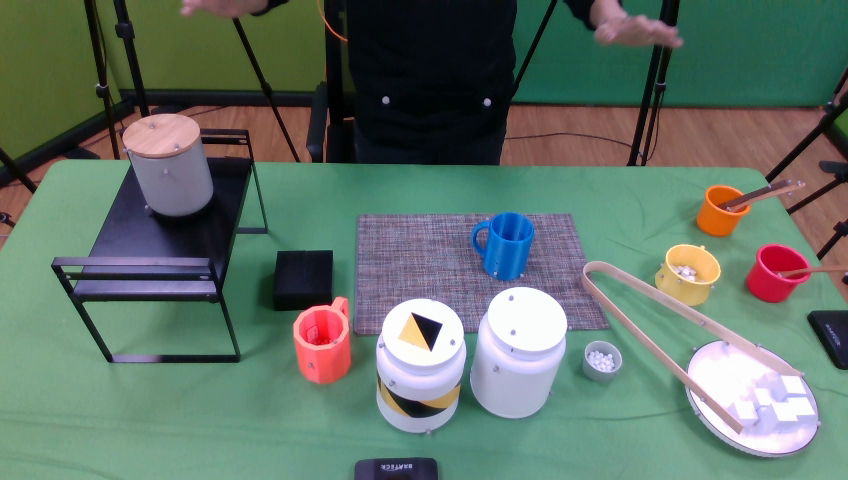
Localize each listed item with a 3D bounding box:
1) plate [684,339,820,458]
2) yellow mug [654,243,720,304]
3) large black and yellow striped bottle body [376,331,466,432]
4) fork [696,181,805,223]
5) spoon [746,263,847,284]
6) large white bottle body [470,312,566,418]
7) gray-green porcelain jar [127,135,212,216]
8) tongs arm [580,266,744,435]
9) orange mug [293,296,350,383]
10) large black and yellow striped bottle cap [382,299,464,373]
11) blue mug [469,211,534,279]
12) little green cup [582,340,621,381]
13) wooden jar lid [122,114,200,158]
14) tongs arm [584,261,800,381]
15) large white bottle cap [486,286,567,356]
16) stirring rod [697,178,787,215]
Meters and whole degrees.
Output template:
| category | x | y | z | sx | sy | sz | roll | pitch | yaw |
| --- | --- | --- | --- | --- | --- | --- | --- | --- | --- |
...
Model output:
| category | x | y | z | sx | sy | sz | roll | pitch | yaw |
| --- | --- | --- | --- | --- | --- | --- | --- | --- | --- |
| plate | 0.523 | 0.256 | 0.982 | 0.208 | 0.039 | 0.206 | 2 | 46 | -2 |
| yellow mug | 0.504 | 0.054 | 1.154 | 0.099 | 0.064 | 0.130 | 28 | 50 | 22 |
| large black and yellow striped bottle body | -0.007 | 0.189 | 0.905 | 0.131 | 0.185 | 0.130 | 2 | 46 | -2 |
| fork | 0.659 | -0.077 | 1.232 | 0.207 | 0.019 | 0.028 | -26 | 35 | 34 |
| spoon | 0.696 | 0.057 | 1.113 | 0.193 | 0.022 | 0.041 | -16 | 27 | 48 |
| large white bottle body | 0.143 | 0.174 | 0.930 | 0.131 | 0.185 | 0.130 | 2 | 46 | -2 |
| gray-green porcelain jar | -0.394 | -0.109 | 0.949 | 0.106 | 0.127 | 0.105 | 3 | 46 | -3 |
| tongs arm | 0.384 | 0.173 | 1.028 | 0.028 | 0.028 | 0.385 | -25 | 46 | -15 |
| orange mug | -0.157 | 0.154 | 0.985 | 0.083 | 0.101 | 0.125 | 17 | 52 | 11 |
| large black and yellow striped bottle cap | -0.002 | 0.132 | 0.843 | 0.115 | 0.019 | 0.114 | 2 | 46 | -1 |
| blue mug | 0.141 | 0.005 | 1.140 | 0.116 | 0.106 | 0.082 | 18 | 48 | 13 |
| little green cup | 0.295 | 0.204 | 1.015 | 0.061 | 0.039 | 0.061 | 2 | 45 | -2 |
| wooden jar lid | -0.390 | -0.152 | 0.904 | 0.108 | 0.021 | 0.107 | 3 | 45 | -3 |
| tongs arm | 0.452 | 0.137 | 1.064 | 0.051 | 0.027 | 0.382 | -34 | 50 | -27 |
| large white bottle cap | 0.147 | 0.114 | 0.869 | 0.115 | 0.018 | 0.114 | 3 | 46 | -3 |
| stirring rod | 0.650 | -0.088 | 1.246 | 0.006 | 0.176 | 0.014 | 29 | 50 | -39 |
